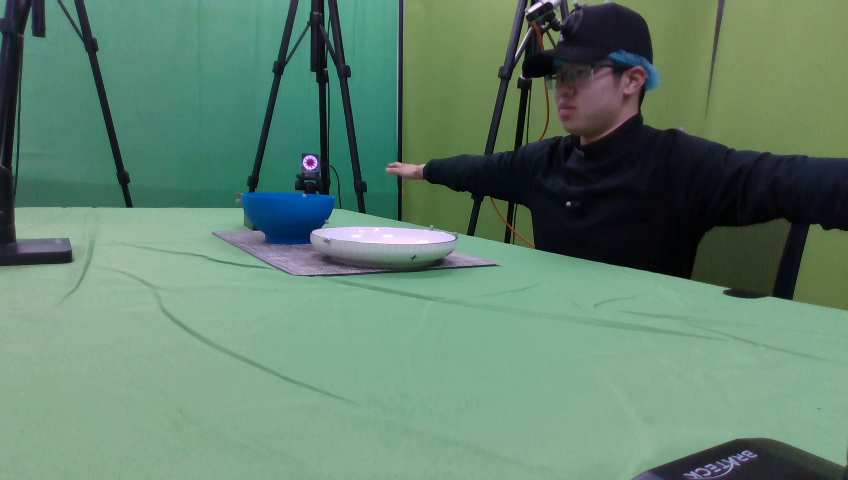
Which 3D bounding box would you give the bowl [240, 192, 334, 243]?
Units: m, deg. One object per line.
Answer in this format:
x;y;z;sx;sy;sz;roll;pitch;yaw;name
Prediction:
-0.223;-0.037;0.992;0.151;0.077;0.151;2;7;0;bowl

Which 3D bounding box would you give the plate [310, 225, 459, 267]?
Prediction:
-0.055;0.008;0.851;0.208;0.039;0.207;2;7;0;plate

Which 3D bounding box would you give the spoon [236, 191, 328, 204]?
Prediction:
-0.283;-0.085;1.222;0.195;0.021;0.041;-1;8;-34;spoon
